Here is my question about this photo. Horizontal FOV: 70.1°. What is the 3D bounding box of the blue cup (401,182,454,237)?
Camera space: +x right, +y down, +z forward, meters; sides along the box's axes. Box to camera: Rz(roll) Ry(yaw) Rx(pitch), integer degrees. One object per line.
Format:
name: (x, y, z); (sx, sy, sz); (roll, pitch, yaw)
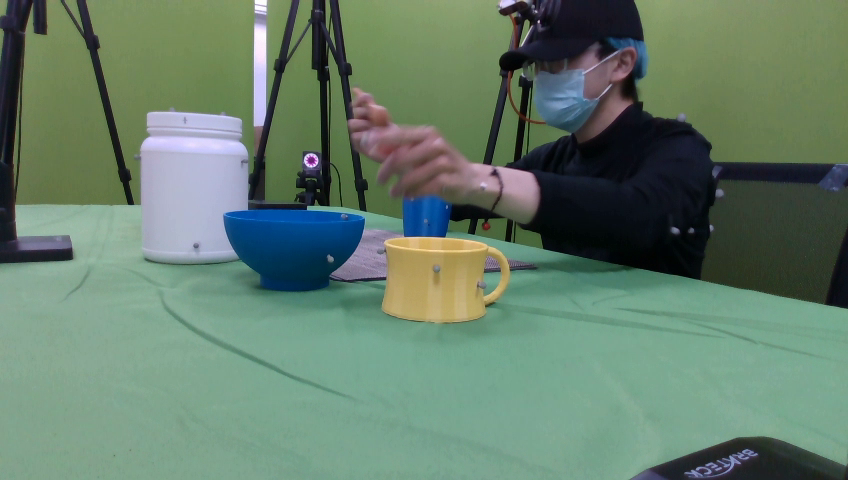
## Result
blue cup: (0.003, -0.039, 0.966); (0.093, 0.100, 0.092); (4, 9, 0)

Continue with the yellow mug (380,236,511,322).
yellow mug: (0.024, 0.034, 0.575); (0.131, 0.064, 0.099); (0, 7, -22)

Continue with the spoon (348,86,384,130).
spoon: (-0.105, -0.238, 1.062); (0.022, 0.041, 0.193); (-7, 30, -17)

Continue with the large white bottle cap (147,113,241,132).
large white bottle cap: (-0.297, -0.151, 0.786); (0.115, 0.018, 0.115); (2, 7, 0)

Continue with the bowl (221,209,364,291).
bowl: (-0.142, 0.011, 0.660); (0.151, 0.077, 0.151); (2, 7, 0)

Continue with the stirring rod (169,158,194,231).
stirring rod: (-0.424, -0.082, 1.060); (0.014, 0.006, 0.175); (2, 50, -10)

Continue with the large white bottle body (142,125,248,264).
large white bottle body: (-0.300, -0.068, 0.797); (0.131, 0.184, 0.130); (2, 7, 0)
